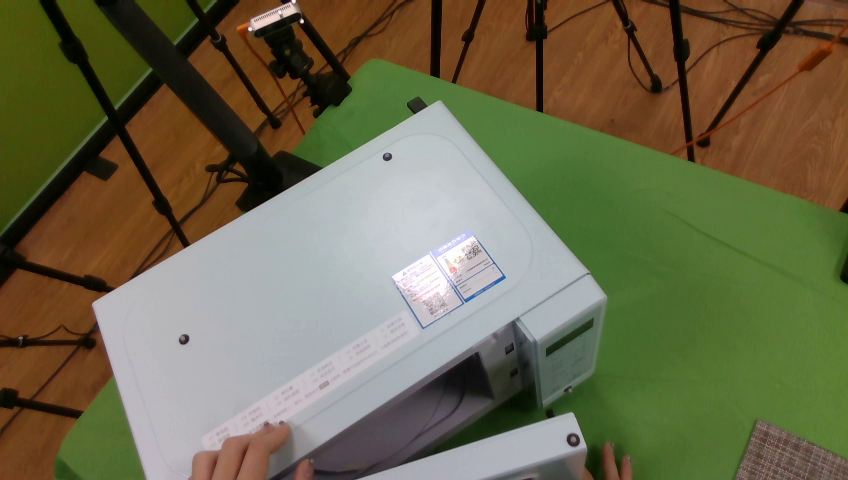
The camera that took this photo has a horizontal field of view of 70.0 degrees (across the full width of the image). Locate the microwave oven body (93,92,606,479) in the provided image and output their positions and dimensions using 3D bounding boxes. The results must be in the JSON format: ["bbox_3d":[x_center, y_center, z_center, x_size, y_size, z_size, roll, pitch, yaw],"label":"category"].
[{"bbox_3d":[-0.075,0.099,0.700,0.442,0.262,0.322,-32,61,-6],"label":"microwave oven body"}]

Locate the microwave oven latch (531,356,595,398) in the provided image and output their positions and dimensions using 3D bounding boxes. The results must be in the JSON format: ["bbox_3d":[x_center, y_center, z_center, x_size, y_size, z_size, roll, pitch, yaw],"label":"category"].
[{"bbox_3d":[0.167,0.157,0.730,0.079,0.030,0.030,-30,61,-5],"label":"microwave oven latch"}]

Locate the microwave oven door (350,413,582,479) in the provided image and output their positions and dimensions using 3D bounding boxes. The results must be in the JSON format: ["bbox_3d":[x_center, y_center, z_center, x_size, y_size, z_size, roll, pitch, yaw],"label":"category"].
[{"bbox_3d":[-0.022,0.258,0.597,0.356,0.246,0.039,-18,59,2],"label":"microwave oven door"}]
